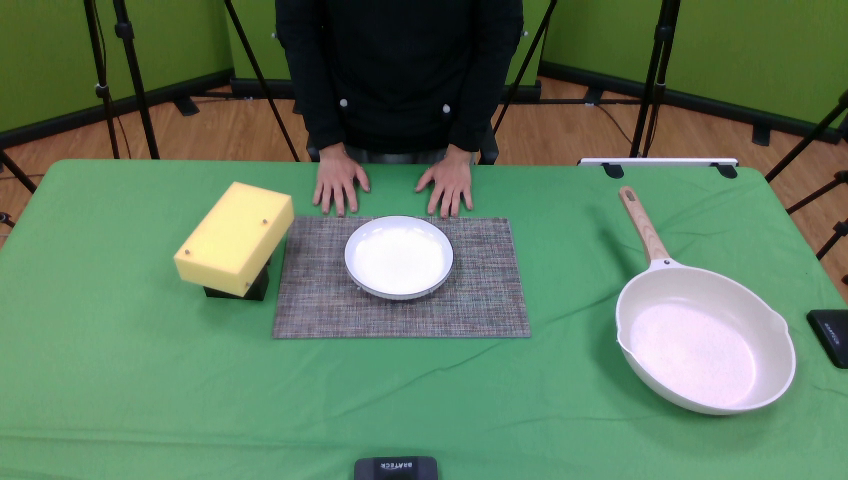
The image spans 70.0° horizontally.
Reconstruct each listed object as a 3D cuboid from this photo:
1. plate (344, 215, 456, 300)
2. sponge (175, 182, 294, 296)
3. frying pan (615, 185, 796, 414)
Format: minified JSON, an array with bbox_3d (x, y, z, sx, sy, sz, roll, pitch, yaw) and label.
[{"bbox_3d":[-0.045,0.036,1.146,0.208,0.039,0.206,2,46,-2],"label":"plate"},{"bbox_3d":[-0.333,-0.007,1.086,0.118,0.061,0.206,13,47,9],"label":"sponge"},{"bbox_3d":[0.450,0.087,1.092,0.307,0.103,0.484,-4,55,-10],"label":"frying pan"}]
